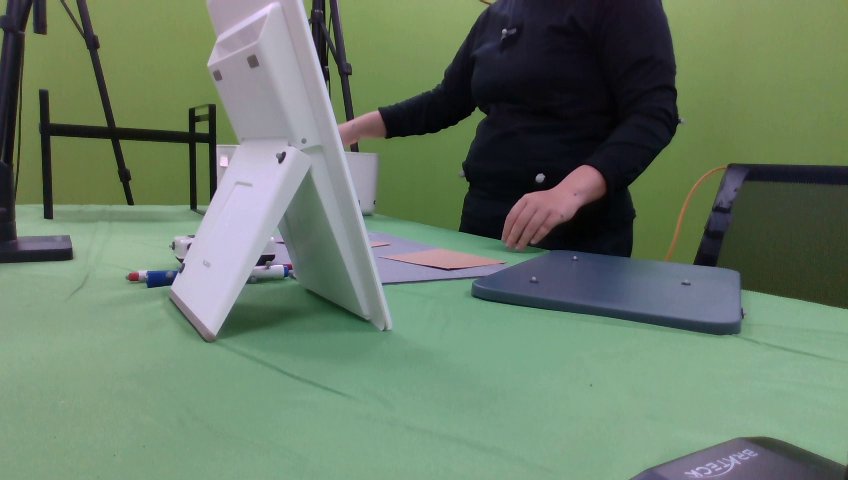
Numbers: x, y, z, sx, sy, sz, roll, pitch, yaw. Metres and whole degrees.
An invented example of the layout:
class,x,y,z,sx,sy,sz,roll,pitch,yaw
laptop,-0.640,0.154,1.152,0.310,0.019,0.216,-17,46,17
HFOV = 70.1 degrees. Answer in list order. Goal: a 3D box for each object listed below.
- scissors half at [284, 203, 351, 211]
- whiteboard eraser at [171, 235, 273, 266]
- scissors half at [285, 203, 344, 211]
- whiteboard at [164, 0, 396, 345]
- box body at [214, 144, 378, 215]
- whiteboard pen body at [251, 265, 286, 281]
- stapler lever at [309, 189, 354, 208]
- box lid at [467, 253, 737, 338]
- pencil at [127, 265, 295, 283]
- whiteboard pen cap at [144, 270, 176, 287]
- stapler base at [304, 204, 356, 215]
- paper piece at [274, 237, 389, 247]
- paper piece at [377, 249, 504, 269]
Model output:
class,x,y,z,sx,sy,sz,roll,pitch,yaw
scissors half,-0.269,-0.080,1.535,0.176,0.013,0.040,-6,12,-23
whiteboard eraser,-0.248,0.014,0.747,0.113,0.042,0.055,-1,10,-32
scissors half,-0.280,-0.083,1.552,0.176,0.013,0.040,-10,9,-44
whiteboard,-0.173,-0.053,0.511,0.144,0.305,0.216,-23,19,-26
box body,-0.328,-0.154,1.543,0.366,0.160,0.253,-2,9,-32
whiteboard pen body,-0.220,0.039,0.655,0.141,0.017,0.017,-2,9,-31
stapler lever,-0.229,-0.104,1.508,0.119,0.040,0.026,3,13,-36
box lid,0.234,0.055,0.736,0.262,0.015,0.373,7,8,26
pencil,-0.231,0.037,0.690,0.195,0.012,0.012,-2,9,-34
whiteboard pen cap,-0.271,0.039,0.627,0.033,0.018,0.018,-3,10,-32
stapler base,-0.234,-0.079,1.510,0.131,0.024,0.041,3,13,-36
paper piece,-0.151,0.003,0.978,0.135,0.008,0.139,13,10,35
paper piece,0.025,0.026,0.865,0.134,0.004,0.136,9,9,43
